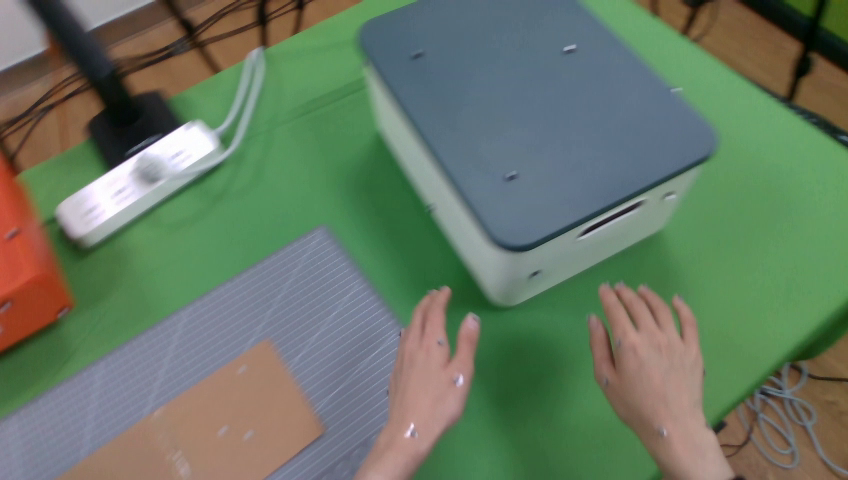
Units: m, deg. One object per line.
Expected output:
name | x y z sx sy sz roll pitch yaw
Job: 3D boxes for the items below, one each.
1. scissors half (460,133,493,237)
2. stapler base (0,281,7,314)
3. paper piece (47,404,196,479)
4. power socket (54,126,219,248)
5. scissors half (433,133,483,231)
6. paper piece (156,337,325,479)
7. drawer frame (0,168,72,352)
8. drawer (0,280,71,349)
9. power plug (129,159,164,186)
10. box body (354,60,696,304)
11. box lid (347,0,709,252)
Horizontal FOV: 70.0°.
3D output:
scissors half | 0.070 -0.075 0.782 0.040 0.013 0.173 9 56 -4
stapler base | -0.530 0.068 0.666 0.130 0.024 0.041 -7 75 2
paper piece | -0.301 0.259 0.605 0.136 0.009 0.137 -35 64 -13
power socket | -0.377 -0.073 0.803 0.226 0.033 0.071 -39 64 -19
scissors half | 0.050 -0.080 0.783 0.040 0.013 0.174 19 56 10
paper piece | -0.195 0.188 0.642 0.135 0.004 0.134 -33 62 -15
drawer frame | -0.529 0.040 0.662 0.201 0.083 0.211 -33 61 -15
drawer | -0.526 0.041 0.662 0.194 0.074 0.209 -33 61 -15
power plug | -0.352 -0.074 0.775 0.035 0.053 0.072 -29 61 -14
box body | 0.103 -0.130 0.731 0.254 0.162 0.360 -27 60 -12
box lid | 0.099 -0.168 0.667 0.263 0.015 0.367 -27 61 -12
